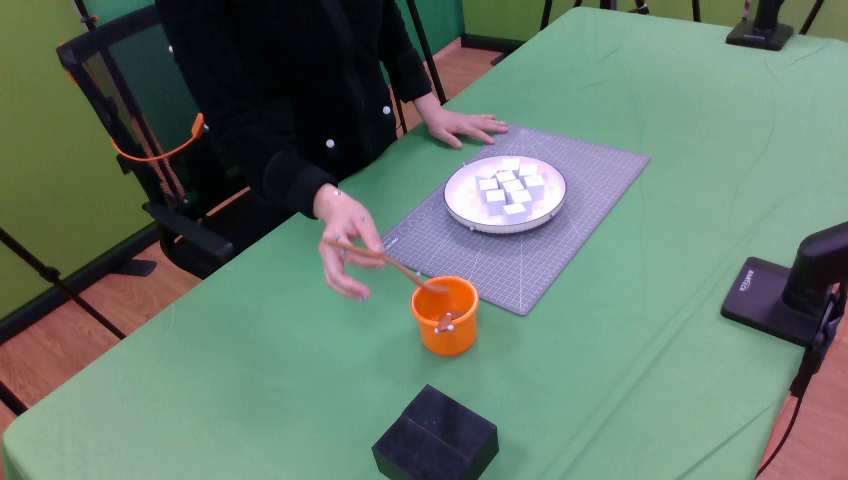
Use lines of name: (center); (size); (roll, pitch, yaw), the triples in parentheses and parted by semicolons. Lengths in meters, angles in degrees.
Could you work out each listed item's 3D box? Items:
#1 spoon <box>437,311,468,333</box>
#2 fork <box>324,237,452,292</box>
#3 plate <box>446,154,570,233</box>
spoon: (0.031, 0.102, 0.761); (0.041, 0.194, 0.021); (3, 85, 8)
fork: (-0.039, 0.032, 0.740); (0.028, 0.209, 0.018); (24, 86, 48)
plate: (0.142, -0.076, 1.033); (0.207, 0.039, 0.206); (-5, 40, 5)
